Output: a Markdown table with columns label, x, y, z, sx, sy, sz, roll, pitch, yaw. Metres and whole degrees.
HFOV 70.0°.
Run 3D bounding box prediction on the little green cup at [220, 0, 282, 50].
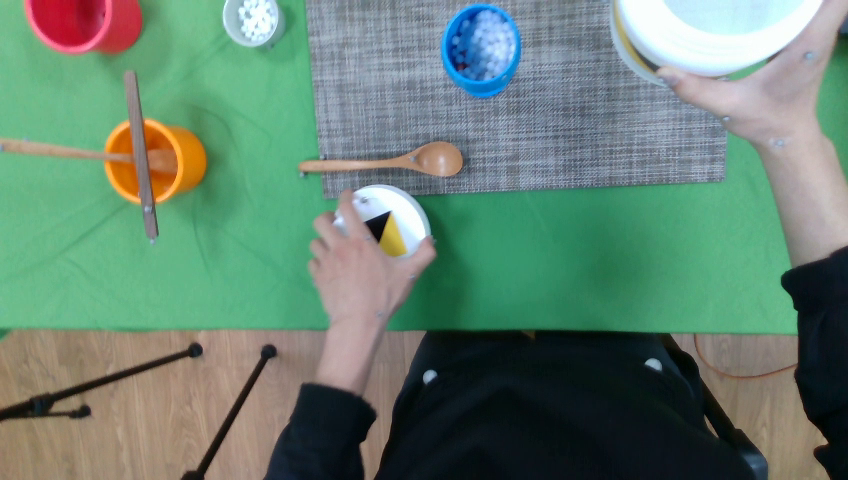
| label | x | y | z | sx | sy | sz | roll | pitch | yaw |
| --- | --- | --- | --- | --- | --- | --- | --- | --- | --- |
| little green cup | -0.187 | -0.238 | 0.666 | 0.061 | 0.038 | 0.062 | 1 | 102 | 6 |

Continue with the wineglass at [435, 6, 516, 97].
| label | x | y | z | sx | sy | sz | roll | pitch | yaw |
| --- | --- | --- | --- | --- | --- | --- | --- | --- | --- |
| wineglass | 0.051 | -0.175 | 0.581 | 0.073 | 0.172 | 0.074 | 1 | 100 | 6 |

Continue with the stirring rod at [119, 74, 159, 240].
| label | x | y | z | sx | sy | sz | roll | pitch | yaw |
| --- | --- | --- | --- | --- | --- | --- | --- | --- | --- |
| stirring rod | -0.304 | -0.086 | 0.648 | 0.014 | 0.006 | 0.176 | -3 | 101 | 8 |

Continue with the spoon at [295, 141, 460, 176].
| label | x | y | z | sx | sy | sz | roll | pitch | yaw |
| --- | --- | --- | --- | --- | --- | --- | --- | --- | --- |
| spoon | -0.056 | -0.088 | 0.686 | 0.193 | 0.021 | 0.042 | -3 | 121 | 7 |

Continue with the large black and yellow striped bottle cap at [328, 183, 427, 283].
| label | x | y | z | sx | sy | sz | roll | pitch | yaw |
| --- | --- | --- | --- | --- | --- | --- | --- | --- | --- |
| large black and yellow striped bottle cap | -0.053 | -0.007 | 0.682 | 0.114 | 0.019 | 0.115 | 5 | 110 | 15 |

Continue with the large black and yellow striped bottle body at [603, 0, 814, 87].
| label | x | y | z | sx | sy | sz | roll | pitch | yaw |
| --- | --- | --- | --- | --- | --- | --- | --- | --- | --- |
| large black and yellow striped bottle body | 0.199 | -0.184 | 0.435 | 0.130 | 0.184 | 0.131 | 2 | 100 | 14 |

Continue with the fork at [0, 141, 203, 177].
| label | x | y | z | sx | sy | sz | roll | pitch | yaw |
| --- | --- | --- | --- | --- | --- | --- | --- | --- | --- |
| fork | -0.346 | -0.088 | 0.655 | 0.209 | 0.018 | 0.028 | 1 | 111 | -38 |
